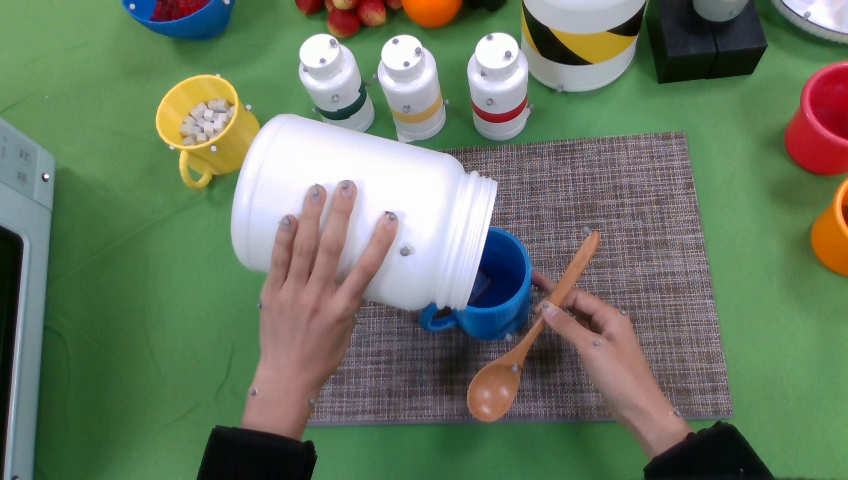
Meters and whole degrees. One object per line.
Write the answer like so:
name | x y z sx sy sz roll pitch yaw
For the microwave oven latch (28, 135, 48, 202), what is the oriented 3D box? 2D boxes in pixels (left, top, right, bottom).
microwave oven latch | -0.470 -0.083 0.723 0.030 0.030 0.078 -10 69 4

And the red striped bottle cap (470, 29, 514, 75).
red striped bottle cap | 0.068 -0.187 0.601 0.044 0.018 0.044 -1 68 4

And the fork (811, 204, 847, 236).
fork | 0.433 0.001 0.517 0.028 0.019 0.205 -41 25 -6

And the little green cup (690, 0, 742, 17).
little green cup | 0.313 -0.270 0.642 0.061 0.039 0.061 -2 67 5

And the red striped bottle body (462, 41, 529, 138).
red striped bottle body | 0.077 -0.167 0.650 0.063 0.121 0.062 -6 65 13

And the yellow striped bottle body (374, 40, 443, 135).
yellow striped bottle body | -0.017 -0.173 0.665 0.063 0.121 0.062 -3 68 8

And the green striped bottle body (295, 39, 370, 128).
green striped bottle body | -0.103 -0.177 0.680 0.063 0.120 0.062 -3 69 7

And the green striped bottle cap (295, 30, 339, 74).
green striped bottle cap | -0.112 -0.196 0.632 0.044 0.020 0.044 -2 68 6

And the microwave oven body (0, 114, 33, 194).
microwave oven body | -0.599 0.074 0.579 0.326 0.262 0.438 -12 69 4

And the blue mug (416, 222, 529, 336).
blue mug | 0.044 0.048 0.577 0.116 0.107 0.081 -31 67 -4

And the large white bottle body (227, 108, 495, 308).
large white bottle body | -0.045 -0.021 0.486 0.185 0.131 0.130 15 72 0

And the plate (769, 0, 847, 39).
plate | 0.483 -0.310 0.687 0.209 0.038 0.207 -3 70 7

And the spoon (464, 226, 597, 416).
spoon | 0.095 0.071 0.525 0.041 0.021 0.194 32 103 2

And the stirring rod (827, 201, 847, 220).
stirring rod | 0.403 0.001 0.529 0.014 0.006 0.175 -1 26 6

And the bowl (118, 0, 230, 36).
bowl | -0.308 -0.321 0.787 0.151 0.077 0.150 -3 69 7

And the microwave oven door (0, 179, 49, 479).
microwave oven door | -0.451 0.081 0.549 0.039 0.246 0.353 -12 68 4

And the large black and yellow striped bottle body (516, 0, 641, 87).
large black and yellow striped bottle body | 0.163 -0.265 0.639 0.130 0.185 0.130 -3 69 8

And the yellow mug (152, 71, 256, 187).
yellow mug | -0.261 -0.125 0.713 0.100 0.064 0.130 6 71 11

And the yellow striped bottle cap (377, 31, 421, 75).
yellow striped bottle cap | -0.026 -0.191 0.617 0.044 0.019 0.044 -2 68 5
